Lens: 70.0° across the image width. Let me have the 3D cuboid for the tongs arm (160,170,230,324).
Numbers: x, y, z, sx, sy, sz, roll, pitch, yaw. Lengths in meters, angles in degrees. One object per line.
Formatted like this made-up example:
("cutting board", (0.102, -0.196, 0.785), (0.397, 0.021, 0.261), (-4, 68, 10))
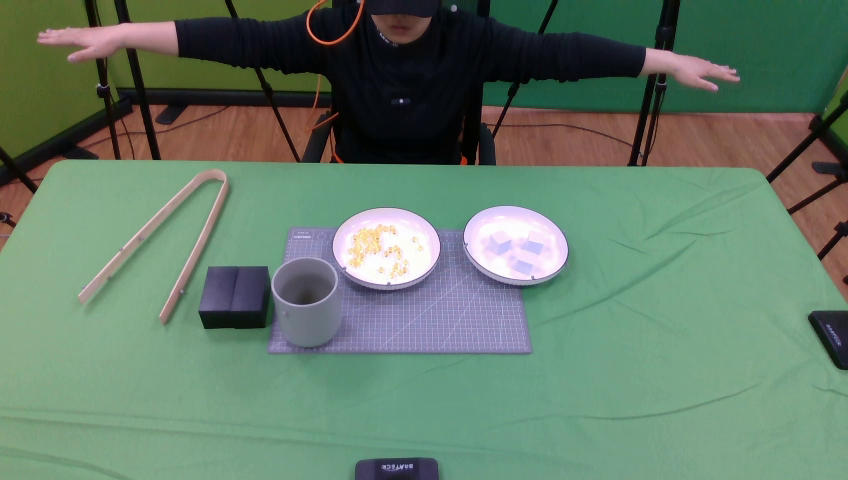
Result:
("tongs arm", (-0.433, -0.001, 1.164), (0.028, 0.028, 0.385), (3, 46, 2))

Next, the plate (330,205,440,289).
("plate", (-0.074, 0.017, 1.160), (0.208, 0.039, 0.206), (2, 46, -2))

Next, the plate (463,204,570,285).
("plate", (0.178, 0.011, 1.184), (0.209, 0.038, 0.208), (3, 46, -3))

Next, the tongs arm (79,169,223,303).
("tongs arm", (-0.512, -0.020, 1.170), (0.050, 0.026, 0.383), (15, 46, 9))

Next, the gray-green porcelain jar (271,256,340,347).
("gray-green porcelain jar", (-0.193, 0.107, 1.004), (0.106, 0.127, 0.105), (2, 46, -2))
